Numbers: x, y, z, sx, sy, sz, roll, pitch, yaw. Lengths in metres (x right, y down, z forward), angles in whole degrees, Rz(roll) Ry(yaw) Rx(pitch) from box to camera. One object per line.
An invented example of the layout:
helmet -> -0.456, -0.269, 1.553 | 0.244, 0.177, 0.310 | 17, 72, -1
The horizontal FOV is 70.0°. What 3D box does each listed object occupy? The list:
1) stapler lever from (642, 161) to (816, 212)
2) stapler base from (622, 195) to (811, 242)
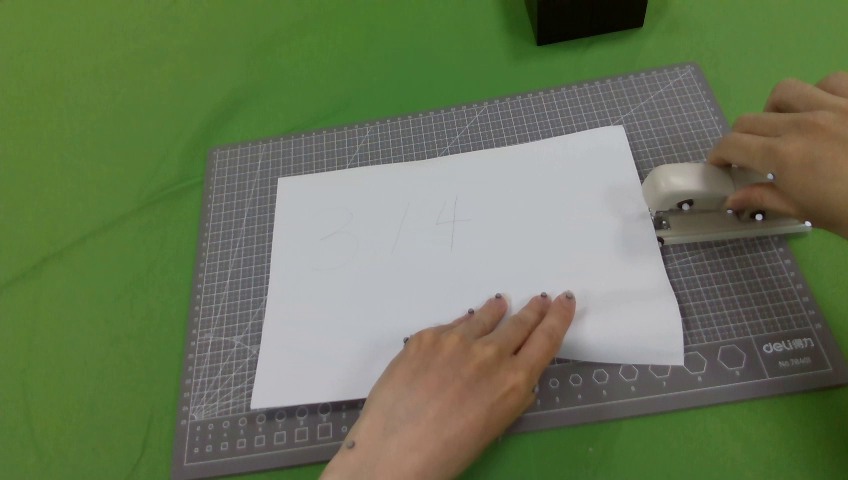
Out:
stapler lever -> 0.214, -0.039, 0.424 | 0.118, 0.040, 0.026 | -4, 60, 4
stapler base -> 0.215, -0.025, 0.445 | 0.130, 0.024, 0.041 | -4, 60, 4
